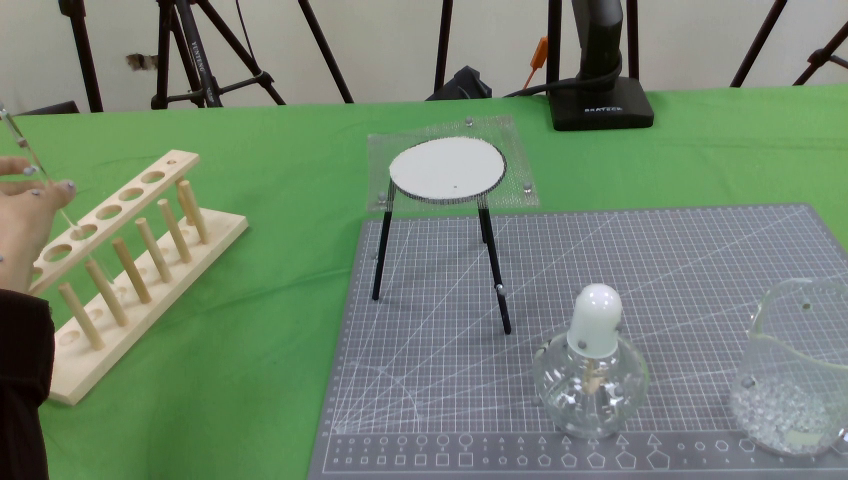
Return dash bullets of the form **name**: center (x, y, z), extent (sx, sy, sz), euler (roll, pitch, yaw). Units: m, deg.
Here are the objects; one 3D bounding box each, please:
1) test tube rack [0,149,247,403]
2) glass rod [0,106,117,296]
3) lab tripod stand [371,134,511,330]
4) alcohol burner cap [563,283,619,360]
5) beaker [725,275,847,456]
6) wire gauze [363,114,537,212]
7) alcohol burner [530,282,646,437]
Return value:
- **test tube rack**: center (-0.266, 0.019, 0.546), extent (0.066, 0.086, 0.241), euler (11, 42, 19)
- **glass rod**: center (-0.291, -0.020, 0.491), extent (0.008, 0.201, 0.008), euler (-2, 44, 2)
- **lab tripod stand**: center (0.020, -0.008, 0.503), extent (0.148, 0.133, 0.147), euler (-4, 41, 4)
- **alcohol burner cap**: center (0.107, 0.049, 0.382), extent (0.034, 0.048, 0.033), euler (-1, 37, 1)
- **beaker**: center (0.240, 0.085, 0.391), extent (0.084, 0.101, 0.073), euler (-4, 39, 3)
- **wire gauze**: center (0.014, -0.059, 0.460), extent (0.125, 0.011, 0.120), euler (-6, 39, 1)
- **alcohol burner**: center (0.110, 0.076, 0.405), extent (0.078, 0.120, 0.077), euler (-4, 37, 3)
